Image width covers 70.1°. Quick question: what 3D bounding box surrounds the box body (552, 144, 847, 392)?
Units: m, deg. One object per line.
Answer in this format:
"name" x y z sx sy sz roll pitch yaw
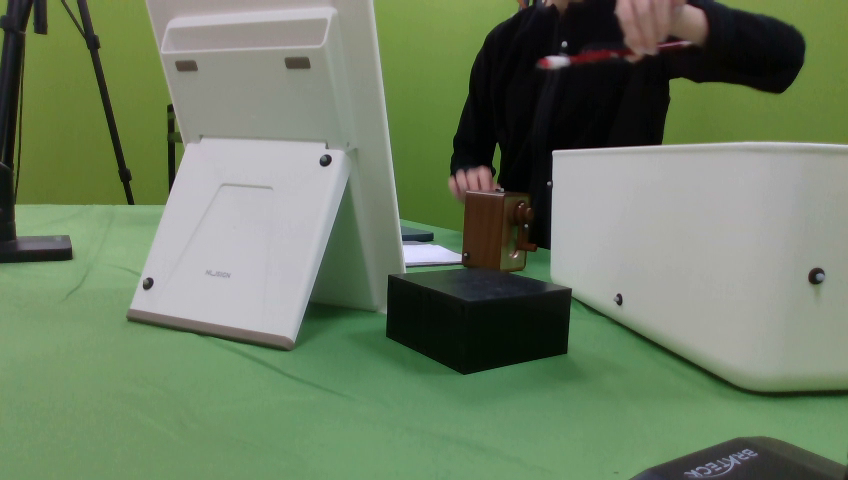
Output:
"box body" 0.290 0.002 0.549 0.255 0.160 0.363 2 7 -10

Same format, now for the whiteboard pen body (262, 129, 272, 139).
"whiteboard pen body" -0.361 -0.245 1.393 0.017 0.017 0.140 0 5 -20

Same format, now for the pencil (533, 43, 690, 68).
"pencil" 0.214 -0.209 0.679 0.194 0.012 0.012 -10 10 -11

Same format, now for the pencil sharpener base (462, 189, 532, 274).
"pencil sharpener base" 0.100 -0.012 0.815 0.062 0.107 0.076 -3 10 -44

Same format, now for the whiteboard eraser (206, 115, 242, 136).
"whiteboard eraser" -0.438 -0.249 1.320 0.056 0.042 0.112 -3 9 -30

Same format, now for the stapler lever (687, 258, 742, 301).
"stapler lever" 0.283 0.035 0.585 0.026 0.040 0.119 11 8 37

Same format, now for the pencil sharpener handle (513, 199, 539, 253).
"pencil sharpener handle" 0.136 -0.018 0.778 0.036 0.067 0.030 -2 9 -44

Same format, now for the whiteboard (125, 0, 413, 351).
"whiteboard" -0.151 -0.050 0.471 0.216 0.305 0.144 6 27 24

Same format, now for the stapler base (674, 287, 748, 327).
"stapler base" 0.281 0.061 0.586 0.041 0.024 0.131 11 8 37

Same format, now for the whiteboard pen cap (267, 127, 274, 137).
"whiteboard pen cap" -0.340 -0.239 1.338 0.018 0.018 0.033 1 -1 -15

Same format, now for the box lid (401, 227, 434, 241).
"box lid" -0.196 -0.015 1.105 0.373 0.015 0.262 -1 7 -32
